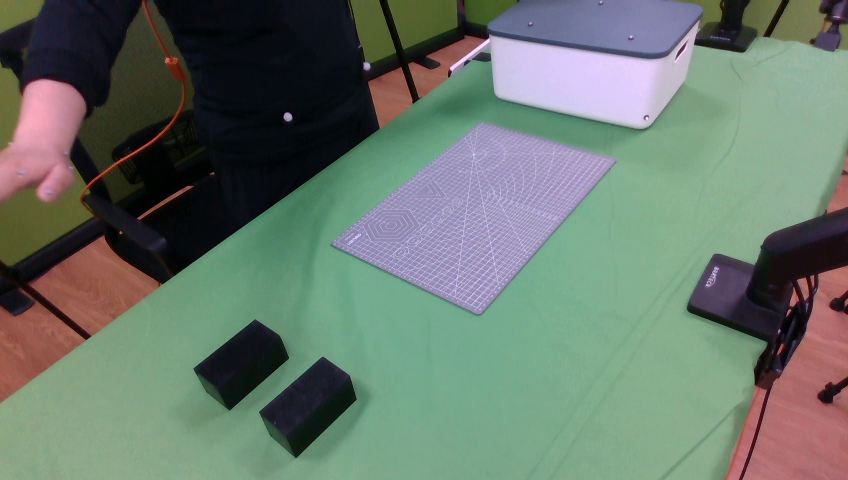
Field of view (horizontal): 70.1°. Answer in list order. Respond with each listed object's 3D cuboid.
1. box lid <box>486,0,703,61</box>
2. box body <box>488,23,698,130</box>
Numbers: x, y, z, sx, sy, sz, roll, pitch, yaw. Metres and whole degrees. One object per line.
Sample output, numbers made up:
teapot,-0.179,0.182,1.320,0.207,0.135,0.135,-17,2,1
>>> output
box lid,0.338,-0.435,1.208,0.369,0.015,0.264,20,47,29
box body,0.345,-0.379,1.257,0.361,0.161,0.255,20,48,29
